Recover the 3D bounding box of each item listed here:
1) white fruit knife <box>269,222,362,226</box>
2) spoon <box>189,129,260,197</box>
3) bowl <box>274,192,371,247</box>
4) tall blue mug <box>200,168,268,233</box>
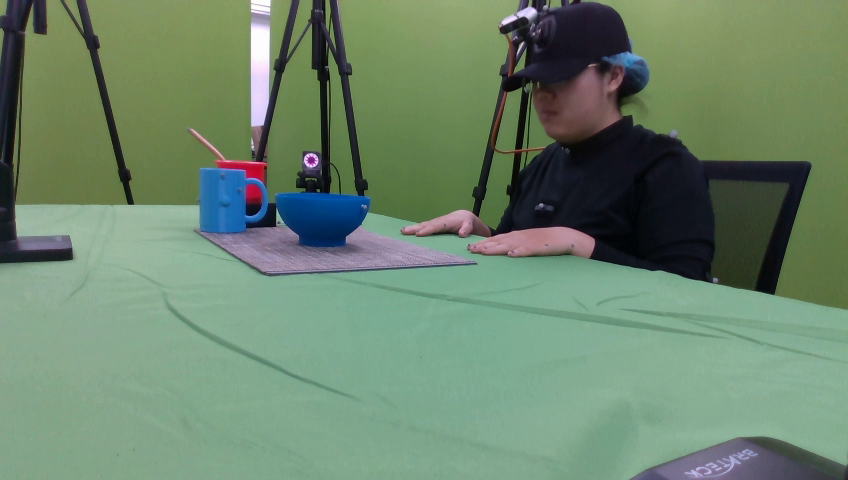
[{"bbox_3d":[-0.222,-0.037,1.261,0.208,0.016,0.027,-4,-18,-31],"label":"white fruit knife"},{"bbox_3d":[-0.388,-0.150,1.174,0.193,0.021,0.042,49,20,7],"label":"spoon"},{"bbox_3d":[-0.161,-0.032,0.958,0.151,0.077,0.151,3,7,0],"label":"bowl"},{"bbox_3d":[-0.342,-0.071,1.072,0.077,0.108,0.108,8,9,38],"label":"tall blue mug"}]
